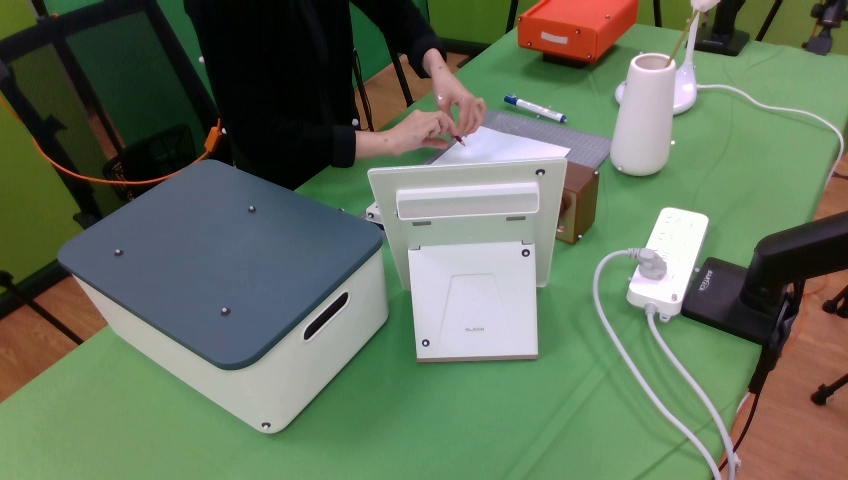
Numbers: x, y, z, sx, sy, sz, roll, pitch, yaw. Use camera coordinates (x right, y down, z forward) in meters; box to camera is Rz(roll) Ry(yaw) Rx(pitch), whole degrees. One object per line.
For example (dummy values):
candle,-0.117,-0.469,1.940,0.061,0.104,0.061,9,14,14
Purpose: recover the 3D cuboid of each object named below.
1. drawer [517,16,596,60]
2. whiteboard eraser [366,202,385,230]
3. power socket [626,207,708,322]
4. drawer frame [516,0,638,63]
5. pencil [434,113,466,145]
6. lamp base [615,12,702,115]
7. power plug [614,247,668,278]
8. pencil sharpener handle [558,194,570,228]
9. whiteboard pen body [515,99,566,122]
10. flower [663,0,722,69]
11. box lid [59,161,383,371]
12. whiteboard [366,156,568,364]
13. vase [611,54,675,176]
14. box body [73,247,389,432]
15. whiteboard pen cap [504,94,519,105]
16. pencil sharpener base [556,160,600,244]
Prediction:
drawer,0.353,-0.506,1.405,0.193,0.073,0.212,23,49,32
whiteboard eraser,-0.038,-0.038,1.006,0.112,0.042,0.055,16,47,25
power socket,0.359,0.025,0.886,0.072,0.033,0.227,16,46,26
drawer frame,0.355,-0.508,1.411,0.200,0.083,0.214,23,51,32
pencil,0.047,-0.206,1.122,0.012,0.012,0.192,-15,29,-9
lamp base,0.484,-0.363,1.211,0.180,0.181,0.159,-15,41,-14
power plug,0.306,0.031,0.851,0.072,0.053,0.035,24,49,33
pencil sharpener handle,0.195,-0.038,0.908,0.035,0.068,0.031,24,50,30
whiteboard pen body,0.234,-0.274,1.262,0.139,0.017,0.017,28,51,29
flower,0.379,-0.261,0.965,0.044,0.362,0.038,20,53,5
box lid,-0.262,0.010,0.777,0.369,0.015,0.264,21,48,29
whiteboard,0.059,0.050,0.738,0.217,0.307,0.143,-2,60,6
vase,0.377,-0.209,1.031,0.098,0.201,0.097,-3,40,3
box body,-0.255,0.065,0.827,0.361,0.161,0.255,21,48,29
whiteboard pen cap,0.190,-0.299,1.292,0.033,0.018,0.018,30,52,28
pencil sharpener base,0.228,-0.057,0.945,0.061,0.107,0.077,24,50,31
